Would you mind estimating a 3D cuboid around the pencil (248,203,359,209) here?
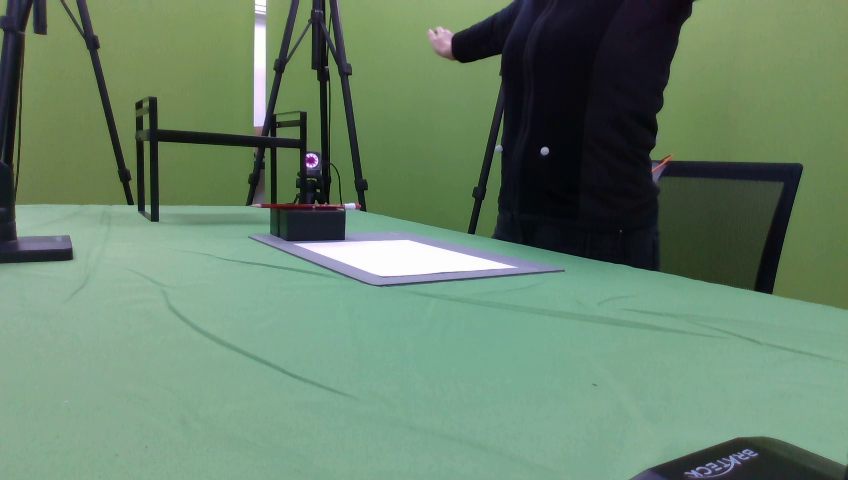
[{"bbox_3d":[-0.201,-0.059,1.031,0.195,0.012,0.012,-2,9,-31],"label":"pencil"}]
